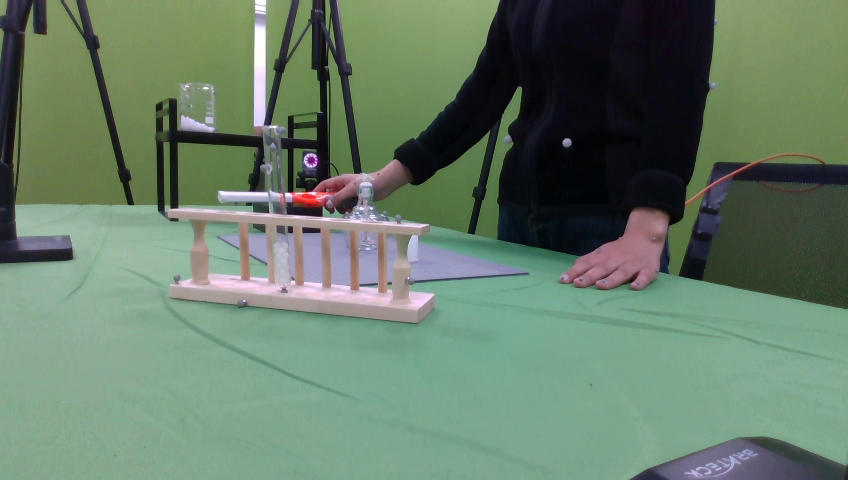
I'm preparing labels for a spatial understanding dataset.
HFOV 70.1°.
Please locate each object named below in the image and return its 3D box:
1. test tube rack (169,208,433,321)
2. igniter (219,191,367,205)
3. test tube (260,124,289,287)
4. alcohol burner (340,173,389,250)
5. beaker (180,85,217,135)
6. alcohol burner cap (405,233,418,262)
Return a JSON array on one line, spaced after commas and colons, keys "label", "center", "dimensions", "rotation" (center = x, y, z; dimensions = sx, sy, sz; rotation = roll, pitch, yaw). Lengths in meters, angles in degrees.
[{"label": "test tube rack", "center": [-0.115, 0.018, 0.574], "dimensions": [0.242, 0.085, 0.067], "rotation": [4, 8, 14]}, {"label": "igniter", "center": [-0.244, -0.080, 1.155], "dimensions": [0.278, 0.025, 0.057], "rotation": [-1, 16, -26]}, {"label": "test tube", "center": [-0.137, -0.030, 0.554], "dimensions": [0.017, 0.150, 0.017], "rotation": [-2, 10, 1]}, {"label": "alcohol burner", "center": [-0.094, -0.045, 0.939], "dimensions": [0.078, 0.119, 0.078], "rotation": [0, 7, 0]}, {"label": "beaker", "center": [-0.478, -0.275, 1.279], "dimensions": [0.074, 0.100, 0.084], "rotation": [4, 8, 15]}, {"label": "alcohol burner cap", "center": [-0.024, 0.005, 0.847], "dimensions": [0.034, 0.048, 0.034], "rotation": [2, 9, 0]}]
